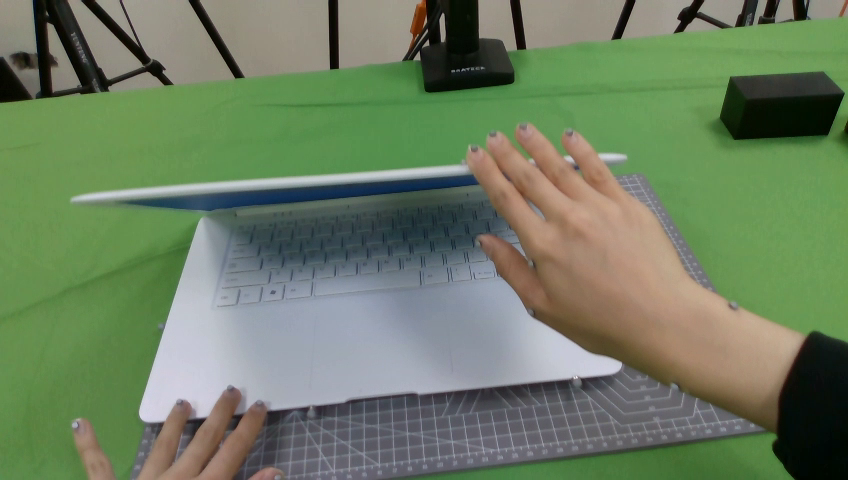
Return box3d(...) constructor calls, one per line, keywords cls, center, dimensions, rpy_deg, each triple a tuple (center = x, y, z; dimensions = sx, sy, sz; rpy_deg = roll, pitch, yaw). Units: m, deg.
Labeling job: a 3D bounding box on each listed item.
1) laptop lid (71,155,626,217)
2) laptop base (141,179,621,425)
box3d(cls="laptop lid", center=(-0.047, -0.041, 0.486), dimensions=(0.357, 0.013, 0.241), rpy_deg=(-5, 3, 1))
box3d(cls="laptop base", center=(-0.038, 0.040, 0.521), dimensions=(0.354, 0.023, 0.233), rpy_deg=(-6, 45, 0))
